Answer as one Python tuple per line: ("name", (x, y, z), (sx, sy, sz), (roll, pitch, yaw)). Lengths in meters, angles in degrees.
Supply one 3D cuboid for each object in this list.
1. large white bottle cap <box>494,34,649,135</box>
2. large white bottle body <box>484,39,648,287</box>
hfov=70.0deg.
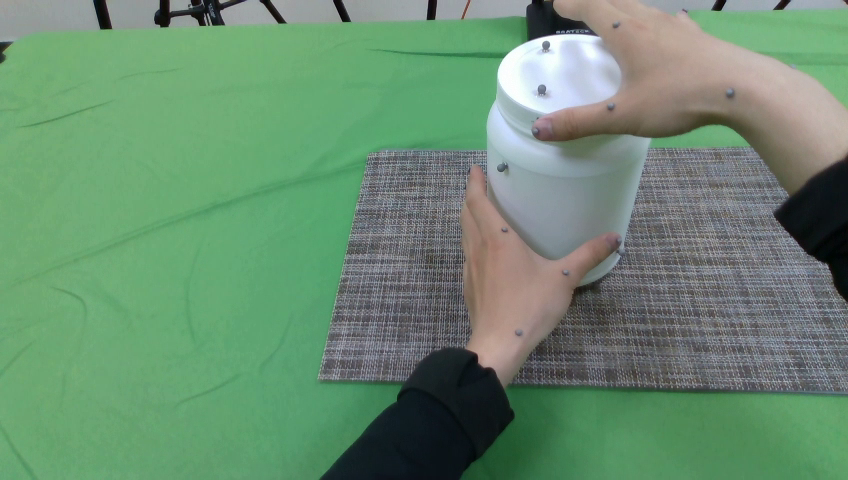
("large white bottle cap", (0.111, -0.121, 0.459), (0.115, 0.018, 0.113), (-2, 47, 2))
("large white bottle body", (0.116, -0.063, 0.520), (0.130, 0.186, 0.129), (-3, 47, 3))
